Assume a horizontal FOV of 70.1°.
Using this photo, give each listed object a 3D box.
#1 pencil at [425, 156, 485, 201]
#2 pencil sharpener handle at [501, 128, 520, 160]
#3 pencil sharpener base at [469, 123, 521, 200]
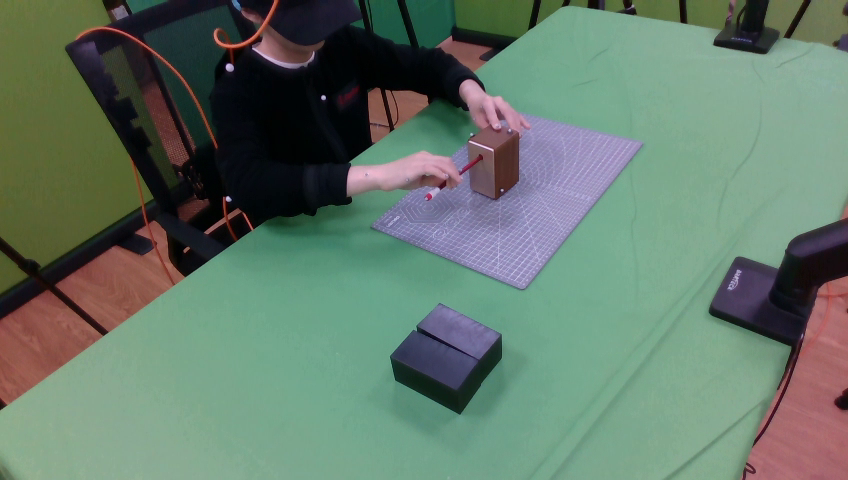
[{"bbox_3d":[0.069,-0.114,0.988,0.012,0.012,0.195,27,50,34],"label":"pencil"},{"bbox_3d":[0.158,-0.174,1.068,0.035,0.068,0.031,29,52,32],"label":"pencil sharpener handle"},{"bbox_3d":[0.126,-0.137,1.048,0.061,0.107,0.077,27,51,34],"label":"pencil sharpener base"}]
